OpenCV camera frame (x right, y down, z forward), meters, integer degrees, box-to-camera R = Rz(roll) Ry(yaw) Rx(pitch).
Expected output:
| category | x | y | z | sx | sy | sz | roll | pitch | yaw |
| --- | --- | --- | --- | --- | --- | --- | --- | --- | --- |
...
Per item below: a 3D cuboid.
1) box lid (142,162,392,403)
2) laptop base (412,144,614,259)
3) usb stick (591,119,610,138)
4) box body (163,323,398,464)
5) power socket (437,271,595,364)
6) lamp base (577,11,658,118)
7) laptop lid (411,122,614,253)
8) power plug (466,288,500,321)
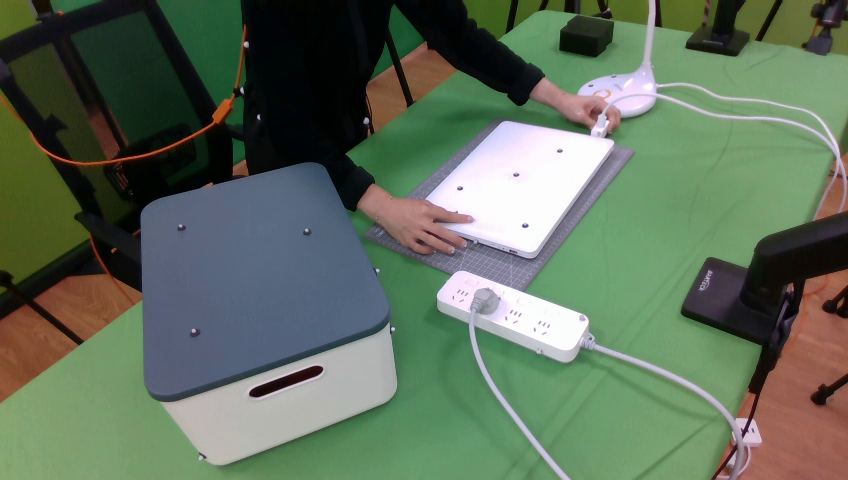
| category | x | y | z | sx | sy | sz | roll | pitch | yaw |
| --- | --- | --- | --- | --- | --- | --- | --- | --- | --- |
| box lid | -0.212 | 0.024 | 0.752 | 0.264 | 0.015 | 0.368 | -17 | 41 | -13 |
| laptop base | 0.167 | -0.102 | 1.075 | 0.234 | 0.023 | 0.355 | 17 | 46 | 30 |
| usb stick | 0.333 | -0.205 | 1.152 | 0.021 | 0.027 | 0.059 | 22 | 51 | 22 |
| box body | -0.205 | 0.080 | 0.802 | 0.255 | 0.161 | 0.361 | -18 | 41 | -13 |
| power socket | 0.118 | 0.102 | 0.830 | 0.225 | 0.033 | 0.072 | 20 | 48 | 28 |
| lamp base | 0.406 | -0.363 | 1.223 | 0.180 | 0.181 | 0.159 | -20 | 42 | -18 |
| laptop lid | 0.163 | -0.112 | 1.069 | 0.240 | 0.013 | 0.357 | 18 | 46 | 31 |
| power plug | 0.072 | 0.093 | 0.813 | 0.035 | 0.053 | 0.073 | 30 | 54 | 35 |
